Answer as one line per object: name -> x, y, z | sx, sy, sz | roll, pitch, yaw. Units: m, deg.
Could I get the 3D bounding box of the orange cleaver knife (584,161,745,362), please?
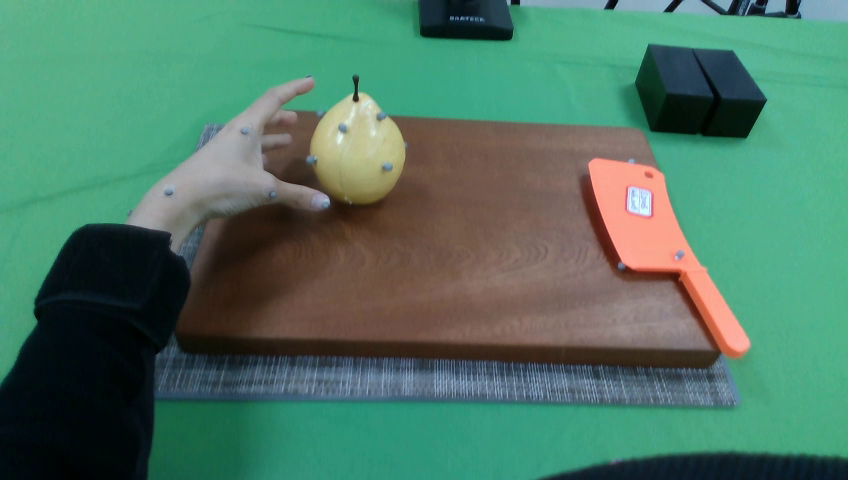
orange cleaver knife -> 0.188, 0.006, 0.496 | 0.077, 0.012, 0.209 | -2, 49, -11

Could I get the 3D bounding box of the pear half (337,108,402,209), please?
pear half -> -0.038, -0.062, 0.490 | 0.031, 0.089, 0.070 | 23, 44, 18

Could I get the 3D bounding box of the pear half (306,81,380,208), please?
pear half -> -0.067, -0.084, 0.494 | 0.055, 0.110, 0.076 | 25, 44, 18
